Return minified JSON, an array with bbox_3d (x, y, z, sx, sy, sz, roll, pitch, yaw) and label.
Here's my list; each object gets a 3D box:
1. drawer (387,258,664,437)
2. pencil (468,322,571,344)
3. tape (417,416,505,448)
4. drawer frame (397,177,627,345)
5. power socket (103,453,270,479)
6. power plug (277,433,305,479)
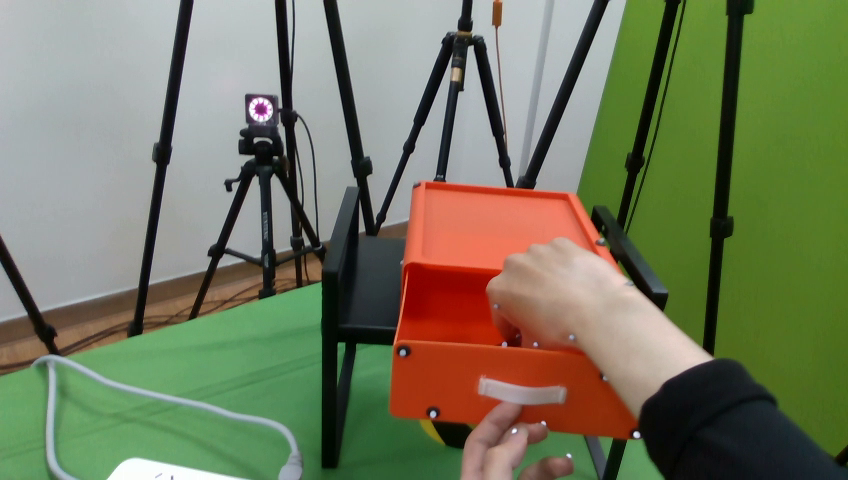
[{"bbox_3d":[0.075,0.066,0.527,0.194,0.074,0.210,5,25,0],"label":"drawer"},{"bbox_3d":[0.056,0.088,0.527,0.195,0.012,0.012,-4,27,-32],"label":"pencil"},{"bbox_3d":[0.047,0.185,0.718,0.117,0.053,0.116,5,27,-2],"label":"tape"},{"bbox_3d":[0.078,0.012,0.631,0.202,0.083,0.212,4,26,-2],"label":"drawer frame"},{"bbox_3d":[-0.198,0.249,0.560,0.226,0.033,0.072,8,26,6],"label":"power socket"},{"bbox_3d":[-0.119,0.226,0.568,0.035,0.053,0.072,13,28,16],"label":"power plug"}]
